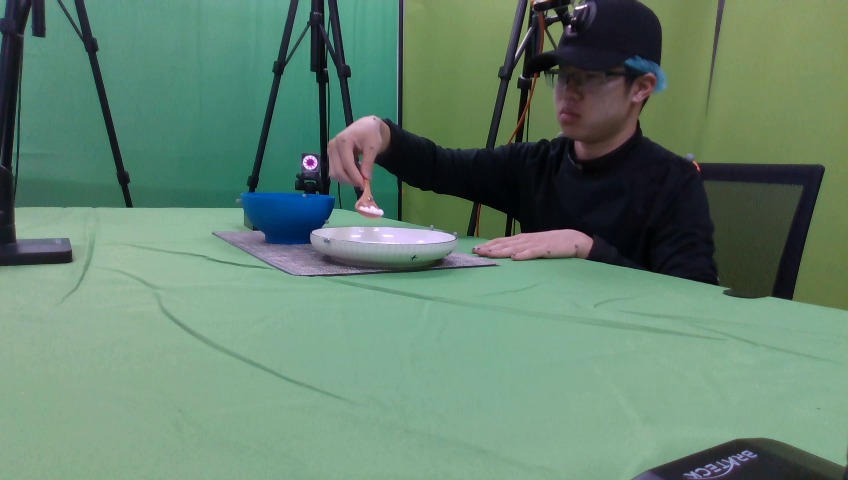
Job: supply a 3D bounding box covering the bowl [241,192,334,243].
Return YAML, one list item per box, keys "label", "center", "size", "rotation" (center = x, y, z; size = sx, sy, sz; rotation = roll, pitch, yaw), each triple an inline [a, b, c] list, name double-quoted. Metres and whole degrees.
- label: "bowl"
  center: [-0.223, -0.037, 0.992]
  size: [0.151, 0.077, 0.151]
  rotation: [2, 7, 0]

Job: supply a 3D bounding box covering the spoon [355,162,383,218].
- label: "spoon"
  center: [-0.089, -0.082, 0.941]
  size: [0.042, 0.021, 0.193]
  rotation: [13, 31, -17]

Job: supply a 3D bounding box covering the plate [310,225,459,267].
- label: "plate"
  center: [-0.055, 0.008, 0.851]
  size: [0.208, 0.039, 0.207]
  rotation: [2, 7, 0]
